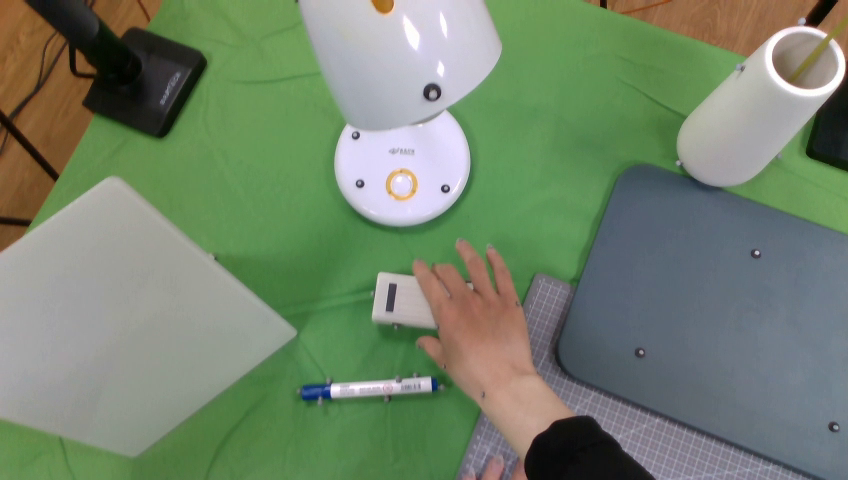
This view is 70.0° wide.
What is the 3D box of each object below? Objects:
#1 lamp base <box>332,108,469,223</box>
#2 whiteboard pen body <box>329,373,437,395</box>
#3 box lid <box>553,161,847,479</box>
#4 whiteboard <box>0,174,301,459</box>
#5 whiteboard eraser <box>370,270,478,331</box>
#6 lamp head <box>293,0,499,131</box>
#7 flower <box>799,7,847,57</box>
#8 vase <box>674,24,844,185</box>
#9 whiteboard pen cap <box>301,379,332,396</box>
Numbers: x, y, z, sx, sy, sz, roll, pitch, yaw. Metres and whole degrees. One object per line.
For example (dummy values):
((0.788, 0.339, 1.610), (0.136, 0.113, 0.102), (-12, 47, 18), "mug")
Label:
((-0.033, -0.128, 0.636), (0.160, 0.181, 0.178), (-8, 73, 1), "lamp base")
((-0.056, 0.155, 0.649), (0.141, 0.017, 0.017), (-4, 75, 2), "whiteboard pen body")
((0.351, 0.083, 0.652), (0.370, 0.015, 0.262), (21, 77, 8), "box lid")
((-0.296, 0.051, 0.570), (0.217, 0.308, 0.142), (-36, 57, -6), "whiteboard")
((0.000, 0.065, 0.657), (0.112, 0.042, 0.055), (6, 78, 3), "whiteboard eraser")
((-0.027, -0.145, 0.356), (0.112, 0.124, 0.111), (-20, 33, 14), "lamp head")
((0.337, -0.163, 0.533), (0.038, 0.364, 0.043), (-22, 68, -19), "flower")
((0.330, -0.129, 0.611), (0.098, 0.201, 0.097), (0, 75, 2), "vase")
((-0.114, 0.158, 0.650), (0.033, 0.018, 0.018), (-6, 75, 5), "whiteboard pen cap")
